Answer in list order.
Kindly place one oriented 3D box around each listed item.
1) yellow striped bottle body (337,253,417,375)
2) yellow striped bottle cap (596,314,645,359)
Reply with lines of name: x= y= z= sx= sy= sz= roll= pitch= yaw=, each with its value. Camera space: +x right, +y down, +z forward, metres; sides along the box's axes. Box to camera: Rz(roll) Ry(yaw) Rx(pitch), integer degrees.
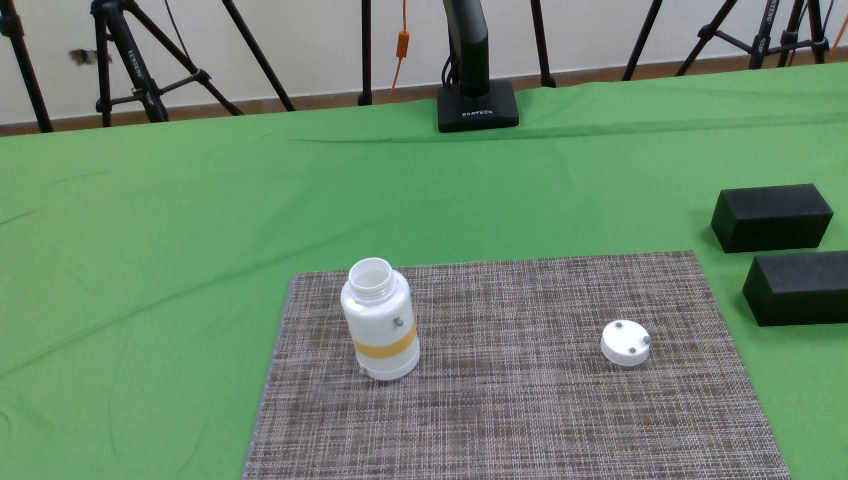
yellow striped bottle body: x=-0.043 y=0.067 z=0.564 sx=0.063 sy=0.121 sz=0.062 roll=-4 pitch=43 yaw=4
yellow striped bottle cap: x=0.189 y=0.092 z=0.583 sx=0.044 sy=0.019 sz=0.044 roll=-3 pitch=42 yaw=3
